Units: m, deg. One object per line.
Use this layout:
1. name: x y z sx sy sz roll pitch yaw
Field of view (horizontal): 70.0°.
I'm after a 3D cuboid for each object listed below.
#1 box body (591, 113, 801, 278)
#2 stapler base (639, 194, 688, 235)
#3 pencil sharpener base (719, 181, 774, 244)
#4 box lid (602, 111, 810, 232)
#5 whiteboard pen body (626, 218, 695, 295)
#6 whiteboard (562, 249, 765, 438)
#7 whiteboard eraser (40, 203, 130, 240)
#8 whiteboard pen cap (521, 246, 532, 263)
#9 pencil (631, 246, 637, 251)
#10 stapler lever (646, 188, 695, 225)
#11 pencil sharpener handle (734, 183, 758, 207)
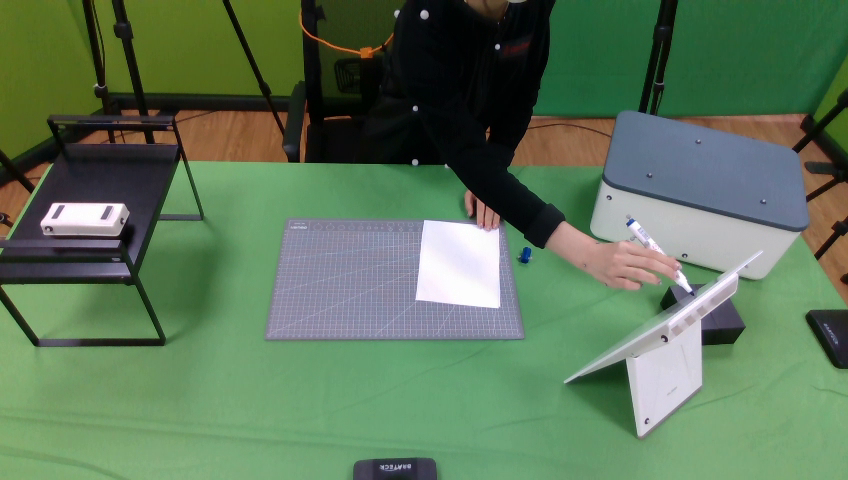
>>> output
1. box body: 0.540 -0.092 1.229 0.363 0.161 0.253 16 47 11
2. stapler base: 0.510 -0.059 1.278 0.041 0.024 0.129 0 39 -31
3. pencil sharpener base: 0.652 -0.056 1.232 0.061 0.107 0.076 11 46 6
4. box lid: 0.545 -0.143 1.176 0.371 0.015 0.262 15 47 11
5. whiteboard pen body: 0.346 0.024 0.883 0.017 0.017 0.140 -33 78 -30
6. whiteboard: 0.386 0.175 0.905 0.217 0.306 0.143 -26 72 -26
7. whiteboard eraser: -0.513 -0.028 0.922 0.113 0.042 0.055 1 48 -3
8. whiteboard pen cap: 0.200 0.029 1.188 0.018 0.018 0.033 15 47 9
9. pencil: 0.431 -0.060 1.284 0.012 0.012 0.193 3 56 -2
10. stapler lever: 0.515 -0.078 1.265 0.027 0.040 0.117 0 41 -30
11. pencil sharpener handle: 0.663 -0.100 1.259 0.036 0.068 0.030 10 46 6
